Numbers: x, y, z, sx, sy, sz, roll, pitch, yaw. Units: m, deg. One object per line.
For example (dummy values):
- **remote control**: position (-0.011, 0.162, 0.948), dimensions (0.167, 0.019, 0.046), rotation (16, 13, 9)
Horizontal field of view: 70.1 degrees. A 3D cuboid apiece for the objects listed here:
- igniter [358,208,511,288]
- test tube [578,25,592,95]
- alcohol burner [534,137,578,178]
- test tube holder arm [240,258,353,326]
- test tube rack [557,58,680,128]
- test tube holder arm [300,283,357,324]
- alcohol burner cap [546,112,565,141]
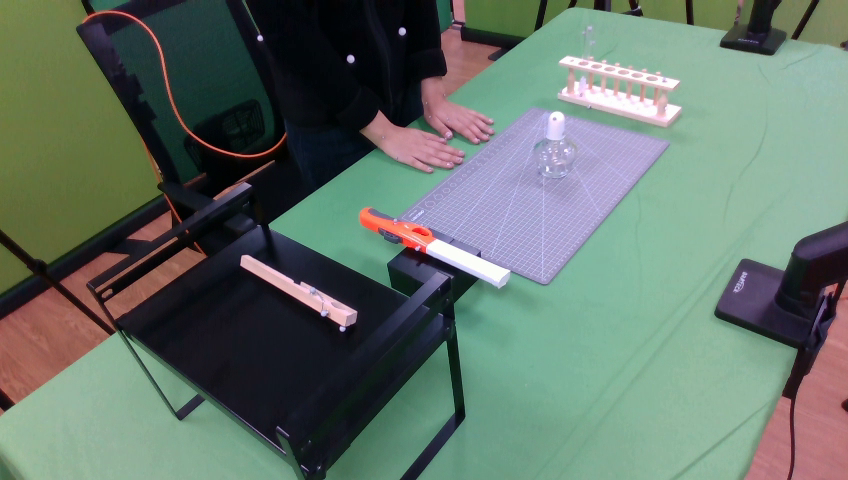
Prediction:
- **igniter**: position (0.005, 0.005, 0.892), dimensions (0.274, 0.025, 0.057), rotation (24, 38, 31)
- **test tube**: position (0.326, -0.362, 1.227), dimensions (0.017, 0.151, 0.017), rotation (-3, 44, 4)
- **alcohol burner**: position (0.232, -0.170, 1.066), dimensions (0.078, 0.119, 0.077), rotation (-5, 39, 5)
- **test tube holder arm**: position (-0.143, 0.053, 0.658), dimensions (0.177, 0.015, 0.013), rotation (21, 14, 32)
- **test tube rack**: position (0.395, -0.309, 1.230), dimensions (0.240, 0.085, 0.067), rotation (25, 50, 33)
- **test tube holder arm**: position (-0.105, 0.066, 0.638), dimensions (0.087, 0.015, 0.010), rotation (21, 14, 33)
- **alcohol burner cap**: position (0.229, -0.198, 1.042), dimensions (0.034, 0.048, 0.033), rotation (-3, 38, 3)
